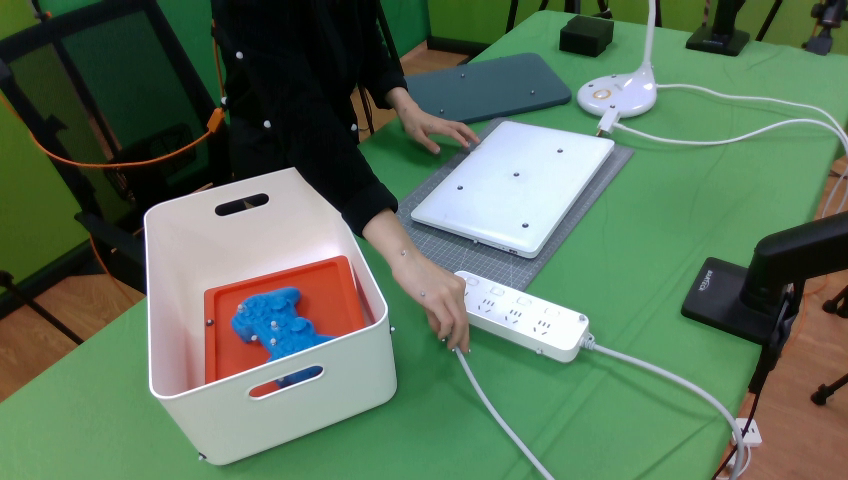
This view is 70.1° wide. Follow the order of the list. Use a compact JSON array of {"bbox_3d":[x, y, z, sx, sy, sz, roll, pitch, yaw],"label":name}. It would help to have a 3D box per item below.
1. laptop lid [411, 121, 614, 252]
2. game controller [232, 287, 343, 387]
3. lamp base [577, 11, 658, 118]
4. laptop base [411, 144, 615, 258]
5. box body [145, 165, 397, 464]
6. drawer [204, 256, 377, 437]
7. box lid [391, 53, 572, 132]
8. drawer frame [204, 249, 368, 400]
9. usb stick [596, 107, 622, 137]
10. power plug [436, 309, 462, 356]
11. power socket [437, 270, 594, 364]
[{"bbox_3d":[0.164,-0.112,1.068,0.240,0.013,0.357,19,46,30],"label":"laptop lid"},{"bbox_3d":[-0.167,0.110,0.734,0.097,0.052,0.154,-35,47,-21],"label":"game controller"},{"bbox_3d":[0.406,-0.363,1.222,0.180,0.181,0.159,-20,42,-18],"label":"lamp base"},{"bbox_3d":[0.167,-0.102,1.074,0.234,0.023,0.355,16,45,30],"label":"laptop base"},{"bbox_3d":[-0.205,0.080,0.802,0.255,0.161,0.361,-18,41,-13],"label":"box body"},{"bbox_3d":[-0.179,0.130,0.787,0.195,0.073,0.210,-13,39,-10],"label":"drawer"},{"bbox_3d":[0.122,-0.339,1.366,0.372,0.015,0.261,-12,40,-5],"label":"box lid"},{"bbox_3d":[-0.174,0.129,0.791,0.202,0.083,0.212,-16,45,-8],"label":"drawer frame"},{"bbox_3d":[0.354,-0.223,1.168,0.027,0.059,0.022,37,13,34],"label":"usb stick"},{"bbox_3d":[0.031,0.126,0.810,0.035,0.053,0.072,6,60,8],"label":"power plug"},{"bbox_3d":[0.118,0.102,0.830,0.225,0.033,0.072,20,48,28],"label":"power socket"}]
